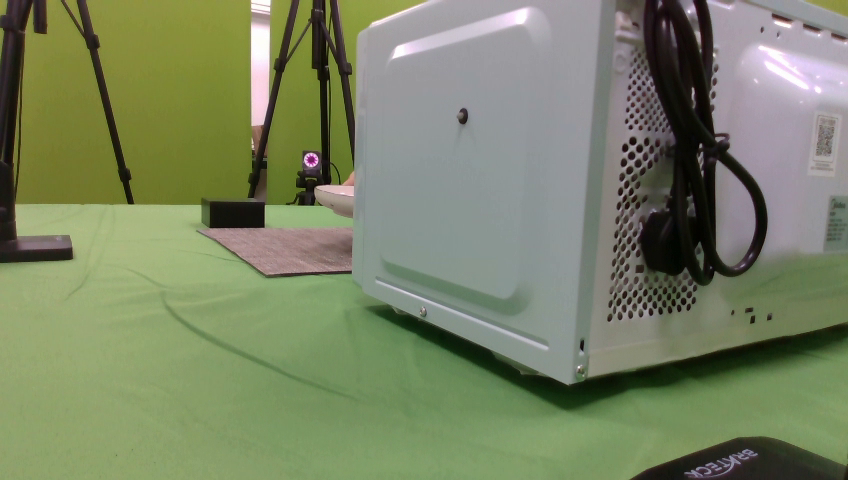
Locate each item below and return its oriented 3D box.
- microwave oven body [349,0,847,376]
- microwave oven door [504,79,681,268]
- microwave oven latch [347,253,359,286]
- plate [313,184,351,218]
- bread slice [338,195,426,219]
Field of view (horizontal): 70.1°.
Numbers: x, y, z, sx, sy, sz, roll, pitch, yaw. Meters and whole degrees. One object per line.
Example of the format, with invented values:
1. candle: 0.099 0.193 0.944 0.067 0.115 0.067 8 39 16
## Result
1. microwave oven body: 0.199 -0.053 0.540 0.444 0.260 0.324 -1 7 -32
2. microwave oven door: 0.235 -0.105 0.926 0.039 0.243 0.354 -1 8 -24
3. microwave oven latch: -0.034 0.028 0.581 0.079 0.029 0.030 -1 7 -32
4. plate: -0.066 -0.055 0.928 0.209 0.038 0.209 6 9 -1
5. bread slice: -0.066 -0.052 0.925 0.131 0.019 0.105 8 9 5
